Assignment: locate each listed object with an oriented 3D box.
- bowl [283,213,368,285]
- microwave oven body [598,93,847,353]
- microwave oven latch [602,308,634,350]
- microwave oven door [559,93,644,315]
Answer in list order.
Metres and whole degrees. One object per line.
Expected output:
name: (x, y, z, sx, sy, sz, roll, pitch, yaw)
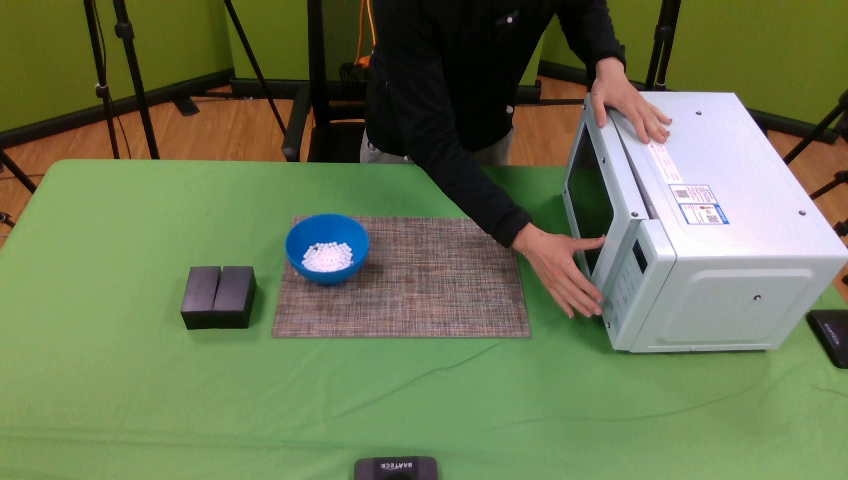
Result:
bowl: (-0.178, 0.030, 1.114, 0.151, 0.077, 0.150, 3, 45, -2)
microwave oven body: (0.475, -0.042, 1.109, 0.326, 0.261, 0.438, -1, 45, -4)
microwave oven latch: (0.332, 0.152, 1.044, 0.030, 0.029, 0.078, -1, 45, -4)
microwave oven door: (0.318, -0.074, 1.122, 0.039, 0.245, 0.353, 2, 46, -3)
